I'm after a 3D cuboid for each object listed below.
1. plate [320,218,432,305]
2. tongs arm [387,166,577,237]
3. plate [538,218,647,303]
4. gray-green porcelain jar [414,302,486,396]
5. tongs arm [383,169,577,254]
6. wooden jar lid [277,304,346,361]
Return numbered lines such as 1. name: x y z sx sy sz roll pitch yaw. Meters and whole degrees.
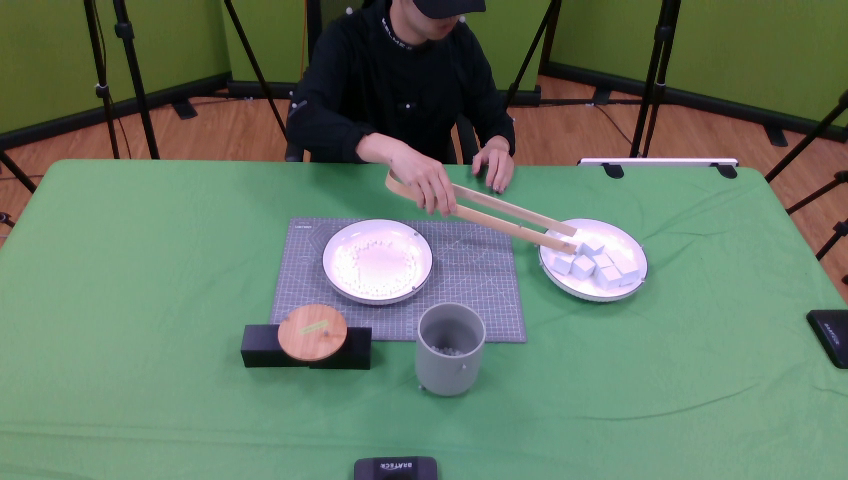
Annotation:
1. plate: -0.088 0.044 1.134 0.209 0.038 0.208 3 46 -2
2. tongs arm: 0.112 -0.074 1.177 0.388 0.028 0.028 18 43 -3
3. plate: 0.322 0.042 1.171 0.208 0.039 0.206 2 46 -2
4. gray-green porcelain jar: 0.038 0.177 0.958 0.106 0.127 0.105 2 46 -2
5. tongs arm: 0.106 -0.054 1.150 0.385 0.026 0.050 18 40 -4
6. wooden jar lid: -0.179 0.150 0.972 0.108 0.021 0.107 2 45 -2
